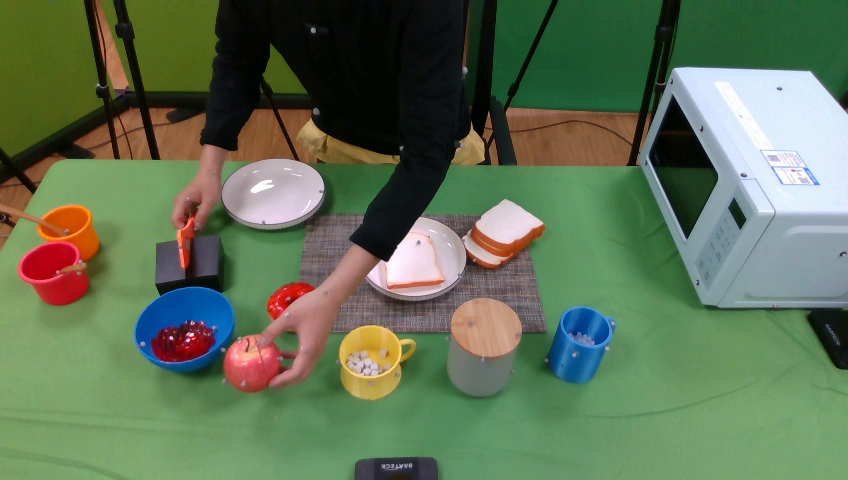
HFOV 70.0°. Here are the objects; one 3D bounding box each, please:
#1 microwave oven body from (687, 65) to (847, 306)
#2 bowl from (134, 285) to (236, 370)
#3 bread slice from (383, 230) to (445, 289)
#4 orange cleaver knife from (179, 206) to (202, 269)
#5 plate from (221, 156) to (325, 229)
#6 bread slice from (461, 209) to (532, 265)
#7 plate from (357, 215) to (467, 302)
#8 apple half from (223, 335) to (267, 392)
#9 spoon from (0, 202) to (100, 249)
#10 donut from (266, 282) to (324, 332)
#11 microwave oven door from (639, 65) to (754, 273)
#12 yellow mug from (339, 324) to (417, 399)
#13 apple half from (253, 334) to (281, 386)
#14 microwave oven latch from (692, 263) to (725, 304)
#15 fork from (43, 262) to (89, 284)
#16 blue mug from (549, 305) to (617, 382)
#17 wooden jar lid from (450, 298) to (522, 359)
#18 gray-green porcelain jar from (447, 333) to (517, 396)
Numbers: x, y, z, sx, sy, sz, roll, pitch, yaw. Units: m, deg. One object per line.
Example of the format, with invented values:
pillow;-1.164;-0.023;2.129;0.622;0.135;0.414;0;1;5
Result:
microwave oven body;0.669;-0.111;1.176;0.326;0.261;0.439;0;46;-3
bowl;-0.377;0.155;0.981;0.151;0.077;0.150;2;46;-2
bread slice;-0.028;0.035;1.145;0.107;0.018;0.133;-7;48;-12
orange cleaver knife;-0.432;-0.009;1.127;0.012;0.077;0.210;-6;20;-10
plate;-0.308;-0.095;1.251;0.209;0.038;0.208;3;47;-3
bread slice;0.134;-0.004;1.193;0.104;0.019;0.131;30;51;25
plate;-0.022;0.037;1.142;0.208;0.039;0.206;2;46;-2
apple half;-0.266;0.187;0.892;0.053;0.075;0.080;-14;46;-21
spoon;-0.683;-0.031;1.088;0.021;0.195;0.041;-34;43;26
donut;-0.222;0.115;1.049;0.099;0.048;0.098;2;45;-2
microwave oven door;0.522;-0.147;1.193;0.039;0.245;0.353;0;47;-3
yellow mug;-0.072;0.190;0.978;0.131;0.064;0.099;-17;50;-20
apple half;-0.231;0.178;0.908;0.033;0.081;0.081;-14;49;-22
microwave oven latch;0.522;0.081;1.115;0.030;0.029;0.078;2;46;-2
fork;-0.599;0.053;1.013;0.207;0.019;0.028;-14;30;45
blue mug;0.269;0.165;0.998;0.116;0.106;0.082;-19;51;-21
wooden jar lid;0.093;0.135;0.914;0.108;0.021;0.107;3;48;-3
gray-green porcelain jar;0.090;0.178;0.960;0.106;0.127;0.105;2;46;-2
